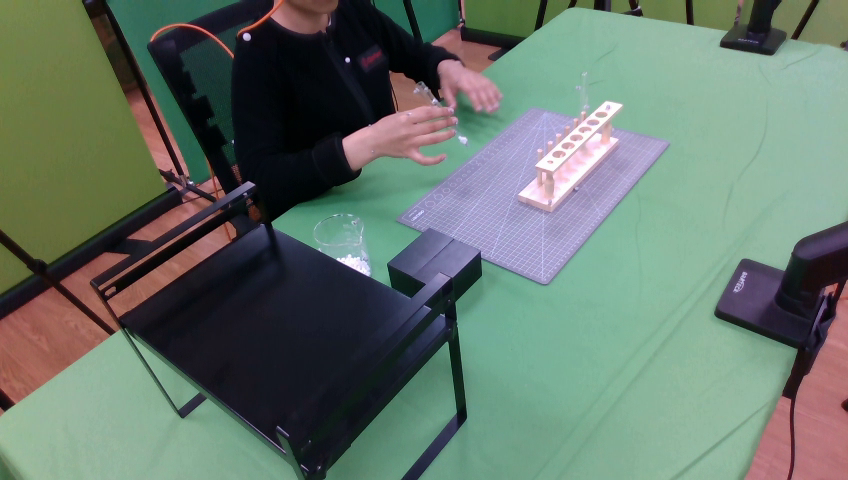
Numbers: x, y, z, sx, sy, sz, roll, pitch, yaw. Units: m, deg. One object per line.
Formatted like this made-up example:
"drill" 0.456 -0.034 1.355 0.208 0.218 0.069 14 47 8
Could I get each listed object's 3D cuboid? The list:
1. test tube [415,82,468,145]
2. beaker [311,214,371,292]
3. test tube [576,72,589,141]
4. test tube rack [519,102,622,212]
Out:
"test tube" 0.033 -0.213 1.035 0.017 0.151 0.017 -24 44 26
"beaker" -0.118 0.022 0.908 0.083 0.101 0.074 26 51 32
"test tube" 0.284 -0.233 1.083 0.017 0.151 0.017 -5 44 6
"test tube rack" 0.260 -0.155 1.065 0.066 0.085 0.243 24 50 32
